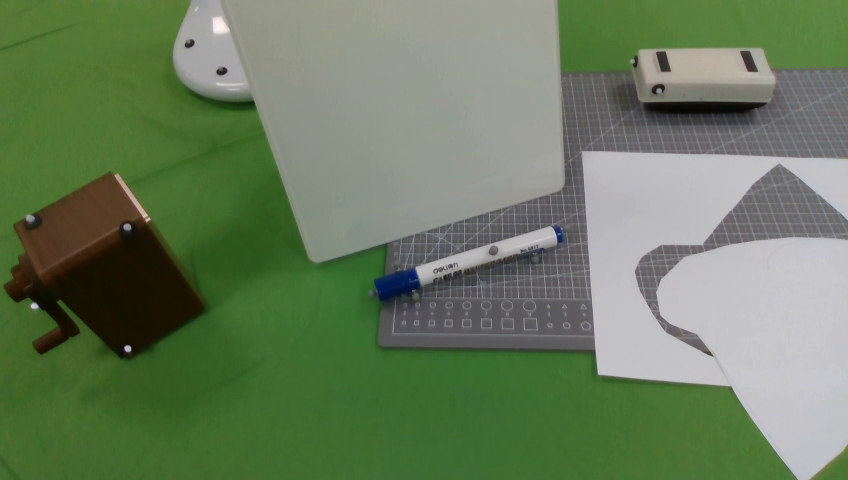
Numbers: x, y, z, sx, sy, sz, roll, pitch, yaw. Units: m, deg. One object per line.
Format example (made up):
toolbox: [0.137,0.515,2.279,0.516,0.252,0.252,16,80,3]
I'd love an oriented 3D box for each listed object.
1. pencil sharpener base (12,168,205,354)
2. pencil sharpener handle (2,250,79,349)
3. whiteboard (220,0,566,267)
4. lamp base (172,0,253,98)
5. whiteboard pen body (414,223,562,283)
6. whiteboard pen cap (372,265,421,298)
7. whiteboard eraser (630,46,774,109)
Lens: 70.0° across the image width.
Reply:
pencil sharpener base: [-0.211,0.019,0.413,0.076,0.108,0.061,-35,58,-20]
pencil sharpener handle: [-0.249,0.040,0.383,0.030,0.068,0.035,-35,45,-20]
whiteboard: [-0.028,-0.169,0.453,0.217,0.308,0.142,-17,34,-7]
lamp base: [-0.192,-0.255,0.569,0.177,0.182,0.160,36,63,29]
whiteboard pen body: [0.036,0.012,0.449,0.141,0.017,0.017,-17,54,-7]
whiteboard pen cap: [-0.020,0.030,0.441,0.033,0.018,0.018,-18,54,-7]
whiteboard eraser: [0.246,-0.145,0.542,0.112,0.042,0.055,2,54,5]
